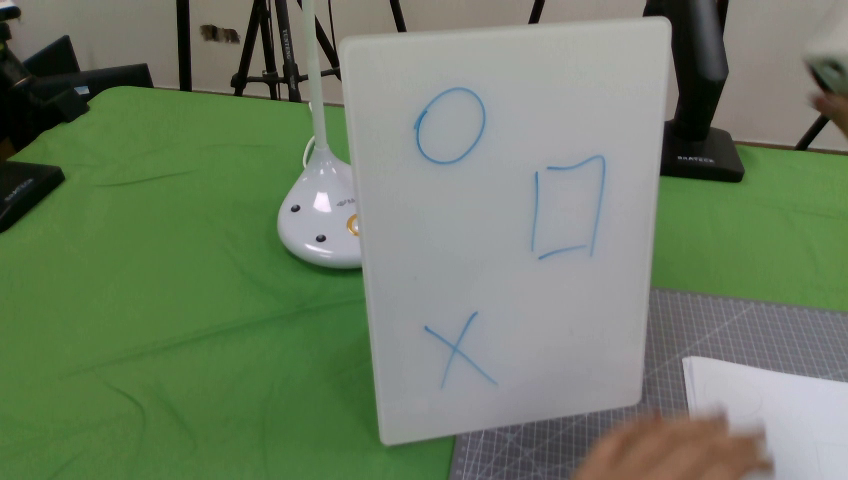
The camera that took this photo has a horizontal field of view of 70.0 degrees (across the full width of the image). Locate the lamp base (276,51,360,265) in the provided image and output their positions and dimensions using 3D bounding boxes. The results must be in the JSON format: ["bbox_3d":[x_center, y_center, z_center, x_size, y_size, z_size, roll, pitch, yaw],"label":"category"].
[{"bbox_3d":[-0.090,-0.093,0.635,0.161,0.182,0.177,-25,44,-28],"label":"lamp base"}]

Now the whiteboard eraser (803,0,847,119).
[{"bbox_3d":[0.295,-0.111,0.397,0.113,0.055,0.041,33,6,-25],"label":"whiteboard eraser"}]

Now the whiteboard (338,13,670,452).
[{"bbox_3d":[0.054,-0.015,0.491,0.217,0.307,0.142,-6,21,-7],"label":"whiteboard"}]
